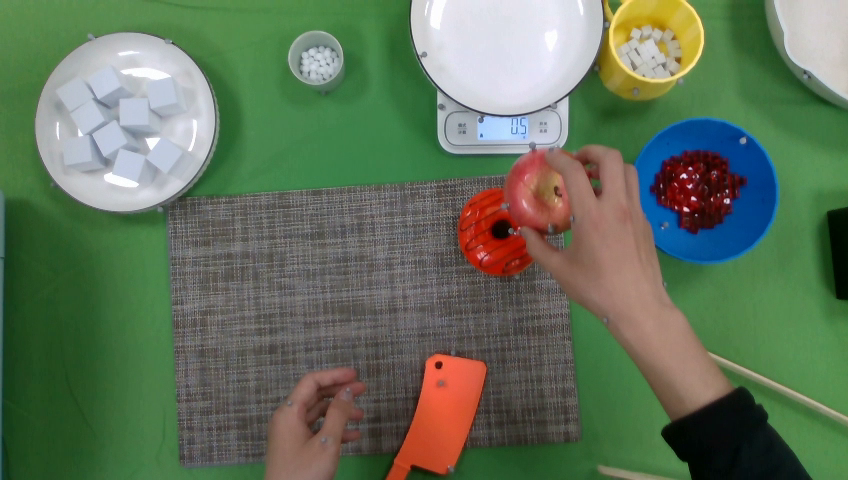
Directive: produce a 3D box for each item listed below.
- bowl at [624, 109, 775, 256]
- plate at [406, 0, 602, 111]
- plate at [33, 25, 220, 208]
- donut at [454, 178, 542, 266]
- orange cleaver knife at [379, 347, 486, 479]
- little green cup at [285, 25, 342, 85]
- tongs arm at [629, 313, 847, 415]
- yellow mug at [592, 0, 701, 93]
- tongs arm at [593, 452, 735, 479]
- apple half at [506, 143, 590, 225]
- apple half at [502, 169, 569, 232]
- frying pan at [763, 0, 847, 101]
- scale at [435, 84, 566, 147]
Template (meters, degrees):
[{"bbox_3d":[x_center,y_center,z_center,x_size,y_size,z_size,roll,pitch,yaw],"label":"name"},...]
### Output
[{"bbox_3d":[0.281,-0.057,0.651,0.151,0.077,0.151,0,88,2],"label":"bowl"},{"bbox_3d":[0.085,-0.240,0.656,0.209,0.038,0.208,0,87,1],"label":"plate"},{"bbox_3d":[-0.332,-0.137,0.690,0.207,0.039,0.207,0,87,1],"label":"plate"},{"bbox_3d":[0.082,-0.019,0.667,0.099,0.048,0.099,0,88,3],"label":"donut"},{"bbox_3d":[0.002,0.215,0.669,0.077,0.012,0.211,25,86,-3],"label":"orange cleaver knife"},{"bbox_3d":[-0.122,-0.207,0.689,0.061,0.038,0.061,0,86,2],"label":"little green cup"},{"bbox_3d":[0.404,0.169,0.663,0.387,0.028,0.028,26,79,3],"label":"tongs arm"},{"bbox_3d":[0.233,-0.232,0.667,0.100,0.064,0.130,-37,86,0],"label":"yellow mug"},{"bbox_3d":[0.379,0.251,0.655,0.385,0.026,0.050,11,82,2],"label":"tongs arm"},{"bbox_3d":[0.121,-0.058,0.557,0.080,0.075,0.053,43,96,4],"label":"apple half"},{"bbox_3d":[0.096,-0.030,0.562,0.081,0.081,0.033,43,97,4],"label":"apple half"},{"bbox_3d":[0.560,-0.191,0.638,0.307,0.103,0.485,-31,79,1],"label":"frying pan"},{"bbox_3d":[0.086,-0.208,0.687,0.148,0.031,0.200,0,87,2],"label":"scale"}]
